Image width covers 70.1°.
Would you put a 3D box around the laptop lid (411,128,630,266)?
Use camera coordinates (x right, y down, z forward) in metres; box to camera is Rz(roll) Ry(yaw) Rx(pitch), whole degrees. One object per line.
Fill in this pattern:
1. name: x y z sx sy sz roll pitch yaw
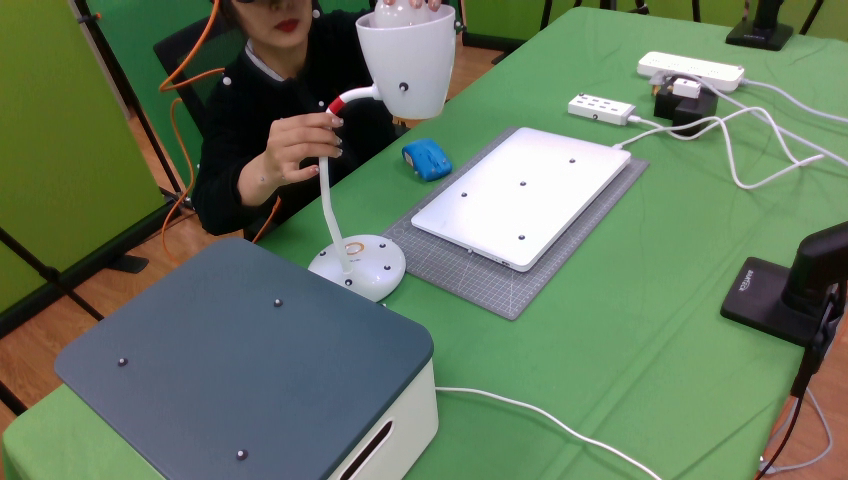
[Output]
1. laptop lid: 0.172 -0.093 1.049 0.239 0.013 0.358 24 50 36

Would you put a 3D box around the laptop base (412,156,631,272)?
1. laptop base: 0.176 -0.084 1.055 0.233 0.023 0.355 21 48 36

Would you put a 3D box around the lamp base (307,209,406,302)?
1. lamp base: -0.116 -0.003 0.889 0.161 0.181 0.178 -15 43 -5

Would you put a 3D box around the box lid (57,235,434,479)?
1. box lid: -0.198 0.123 0.653 0.368 0.015 0.264 22 49 32

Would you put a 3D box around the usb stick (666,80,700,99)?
1. usb stick: 0.492 -0.288 1.152 0.058 0.027 0.021 20 50 34

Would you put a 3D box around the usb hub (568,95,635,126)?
1. usb hub: 0.360 -0.264 1.228 0.124 0.025 0.049 24 49 34

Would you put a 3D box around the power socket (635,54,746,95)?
1. power socket: 0.564 -0.357 1.293 0.225 0.033 0.072 24 51 33

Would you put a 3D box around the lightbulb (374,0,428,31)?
1. lightbulb: -0.020 -0.226 0.682 0.059 0.108 0.059 -9 38 7

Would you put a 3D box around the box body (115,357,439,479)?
1. box body: -0.189 0.178 0.702 0.361 0.161 0.255 22 49 32

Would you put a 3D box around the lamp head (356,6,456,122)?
1. lamp head: -0.019 -0.199 0.701 0.112 0.123 0.112 -1 33 1

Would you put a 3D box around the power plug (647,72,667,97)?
1. power plug: 0.493 -0.321 1.261 0.073 0.052 0.035 1 20 -41

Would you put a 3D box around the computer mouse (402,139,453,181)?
1. computer mouse: 0.005 -0.159 1.165 0.063 0.041 0.116 -21 45 -17
